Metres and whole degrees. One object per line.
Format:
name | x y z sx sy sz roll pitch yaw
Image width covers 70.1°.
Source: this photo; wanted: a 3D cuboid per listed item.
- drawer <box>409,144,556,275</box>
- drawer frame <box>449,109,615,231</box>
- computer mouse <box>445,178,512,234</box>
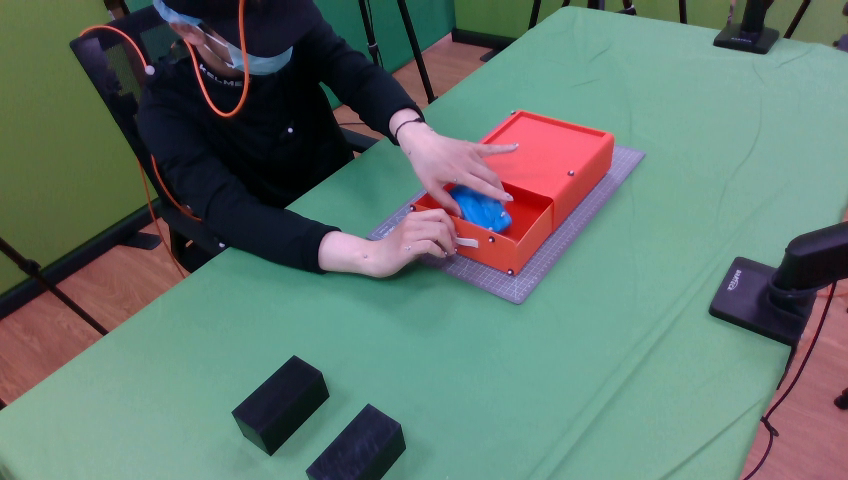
drawer | 0.117 -0.060 0.972 0.193 0.073 0.212 22 49 31
drawer frame | 0.186 -0.126 1.037 0.200 0.083 0.214 22 48 31
computer mouse | 0.084 -0.053 0.938 0.063 0.041 0.116 -24 55 -17
